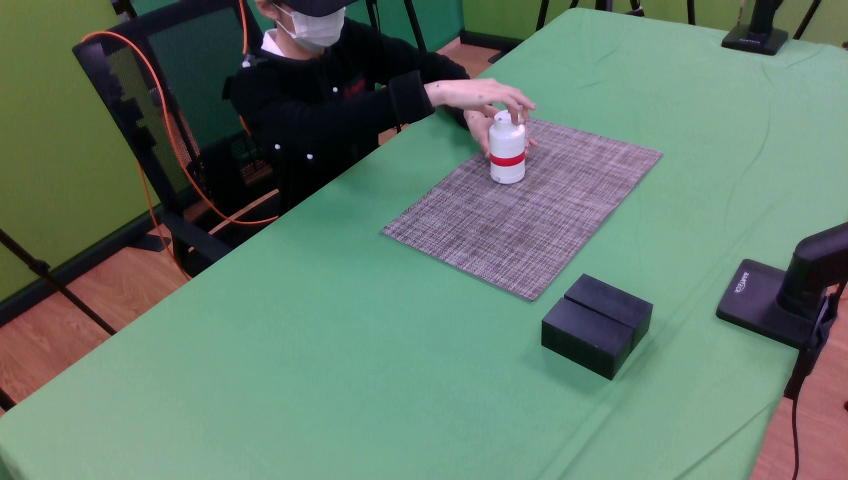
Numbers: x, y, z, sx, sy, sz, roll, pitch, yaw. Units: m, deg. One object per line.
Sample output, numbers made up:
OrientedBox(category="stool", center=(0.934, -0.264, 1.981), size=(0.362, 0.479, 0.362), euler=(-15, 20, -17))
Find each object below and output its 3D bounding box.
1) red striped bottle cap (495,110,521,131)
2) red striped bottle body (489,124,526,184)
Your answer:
OrientedBox(category="red striped bottle cap", center=(0.142, -0.204, 1.030), size=(0.044, 0.018, 0.044), euler=(-7, 39, 6))
OrientedBox(category="red striped bottle body", center=(0.147, -0.163, 1.064), size=(0.063, 0.120, 0.062), euler=(-5, 39, 4))
